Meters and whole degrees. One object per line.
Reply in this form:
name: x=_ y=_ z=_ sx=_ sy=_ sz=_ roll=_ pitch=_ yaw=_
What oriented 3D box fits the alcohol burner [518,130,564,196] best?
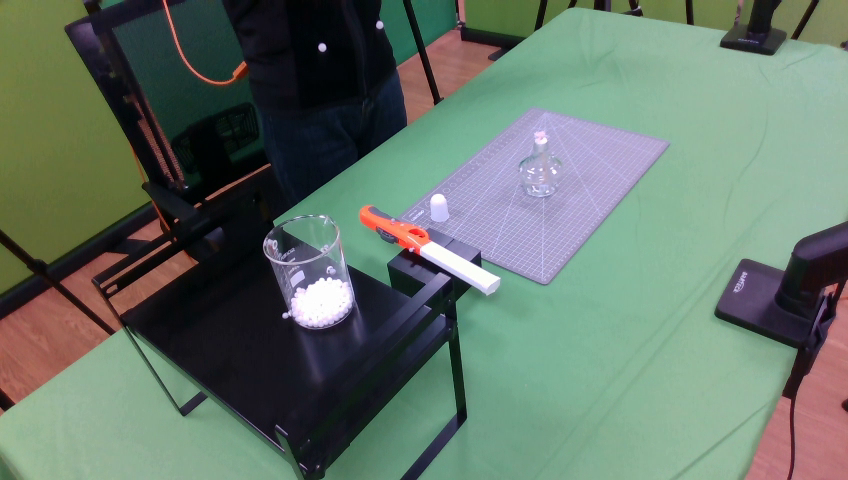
alcohol burner: x=0.199 y=-0.135 z=1.027 sx=0.078 sy=0.119 sz=0.077 roll=-5 pitch=42 yaw=5

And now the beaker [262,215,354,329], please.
beaker: x=-0.112 y=0.034 z=0.616 sx=0.073 sy=0.101 sz=0.084 roll=13 pitch=44 yaw=23

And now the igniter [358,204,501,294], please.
igniter: x=-0.004 y=0.006 z=0.892 sx=0.274 sy=0.025 sz=0.057 roll=29 pitch=41 yaw=34

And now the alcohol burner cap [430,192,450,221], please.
alcohol burner cap: x=0.025 y=-0.059 z=1.020 sx=0.034 sy=0.048 sz=0.033 roll=-4 pitch=41 yaw=4
